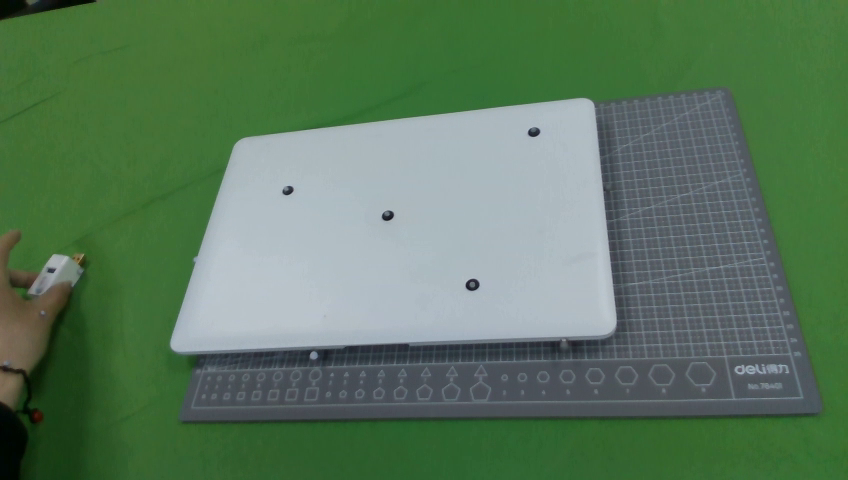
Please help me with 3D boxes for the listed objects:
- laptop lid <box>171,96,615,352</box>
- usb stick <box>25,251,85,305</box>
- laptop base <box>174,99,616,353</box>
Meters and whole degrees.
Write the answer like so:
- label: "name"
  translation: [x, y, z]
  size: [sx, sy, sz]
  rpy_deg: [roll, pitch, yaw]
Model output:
- label: "laptop lid"
  translation: [-0.031, -0.019, 0.514]
  size: [0.356, 0.013, 0.239]
  rpy_deg: [-3, 57, 14]
- label: "usb stick"
  translation: [-0.346, 0.031, 0.574]
  size: [0.021, 0.027, 0.059]
  rpy_deg: [4, 52, 20]
- label: "laptop base"
  translation: [-0.028, -0.014, 0.524]
  size: [0.353, 0.023, 0.233]
  rpy_deg: [-4, 58, 12]
